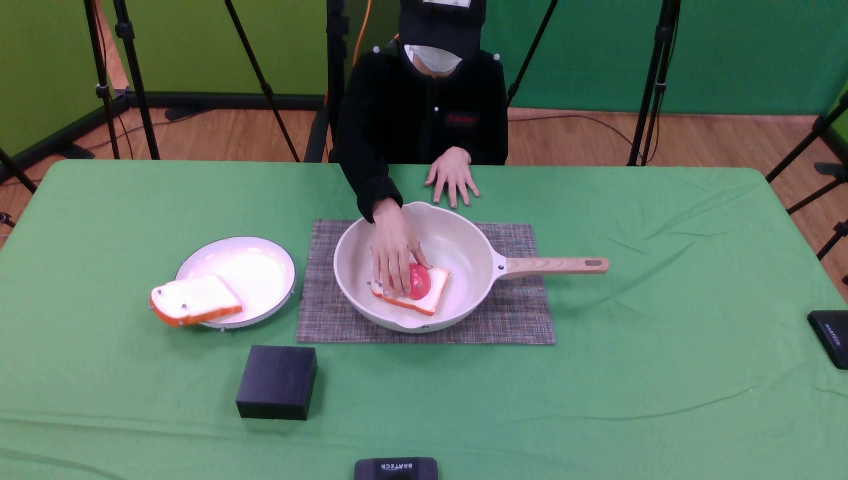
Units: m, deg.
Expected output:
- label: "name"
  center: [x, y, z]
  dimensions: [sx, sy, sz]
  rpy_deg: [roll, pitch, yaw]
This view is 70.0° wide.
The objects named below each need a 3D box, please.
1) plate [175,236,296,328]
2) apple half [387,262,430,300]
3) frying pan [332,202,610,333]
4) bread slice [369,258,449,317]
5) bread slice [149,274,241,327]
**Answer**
- label: "plate"
  center: [-0.335, 0.077, 1.087]
  dimensions: [0.208, 0.039, 0.206]
  rpy_deg: [2, 46, -2]
- label: "apple half"
  center: [-0.023, 0.065, 1.085]
  dimensions: [0.081, 0.033, 0.081]
  rpy_deg: [8, 52, -10]
- label: "frying pan"
  center: [0.085, 0.052, 1.093]
  dimensions: [0.488, 0.103, 0.305]
  rpy_deg: [-1, 46, 6]
- label: "bread slice"
  center: [-0.031, 0.084, 1.109]
  dimensions: [0.134, 0.018, 0.106]
  rpy_deg: [13, 46, 7]
- label: "bread slice"
  center: [-0.393, 0.102, 1.030]
  dimensions: [0.132, 0.019, 0.104]
  rpy_deg: [-13, 43, -46]
